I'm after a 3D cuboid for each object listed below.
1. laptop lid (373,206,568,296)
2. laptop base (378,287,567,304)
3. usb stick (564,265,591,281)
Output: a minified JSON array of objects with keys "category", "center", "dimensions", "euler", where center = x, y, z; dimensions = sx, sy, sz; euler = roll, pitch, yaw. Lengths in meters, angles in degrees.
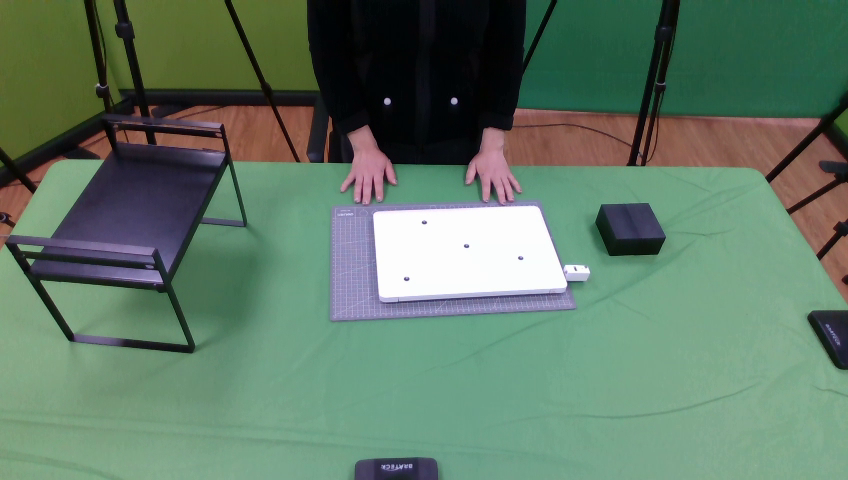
[{"category":"laptop lid","center":[0.081,0.014,1.174],"dimensions":[0.357,0.013,0.240],"euler":[-1,44,-5]},{"category":"laptop base","center":[0.081,0.024,1.181],"dimensions":[0.355,0.023,0.234],"euler":[-3,43,-6]},{"category":"usb stick","center":[0.282,0.062,1.143],"dimensions":[0.059,0.027,0.021],"euler":[-1,45,-6]}]
